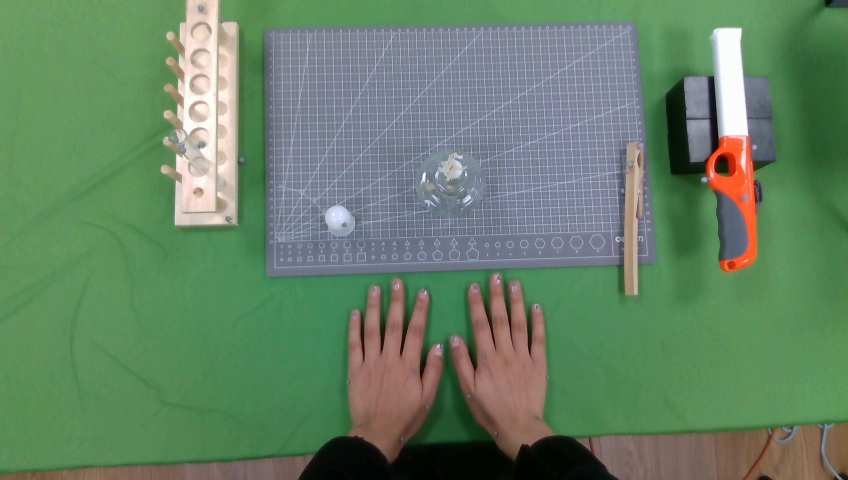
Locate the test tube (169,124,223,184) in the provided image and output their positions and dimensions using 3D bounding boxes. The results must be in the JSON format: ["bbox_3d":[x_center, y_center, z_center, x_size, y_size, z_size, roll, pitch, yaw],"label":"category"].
[{"bbox_3d":[-0.226,-0.083,0.610,0.017,0.150,0.017,1,79,-5],"label":"test tube"}]

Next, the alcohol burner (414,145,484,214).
[{"bbox_3d":[0.028,-0.069,0.651,0.078,0.119,0.077,0,83,-1],"label":"alcohol burner"}]

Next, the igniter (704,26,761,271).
[{"bbox_3d":[0.338,-0.103,0.669,0.057,0.025,0.275,1,82,4],"label":"igniter"}]

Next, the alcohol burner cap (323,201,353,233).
[{"bbox_3d":[-0.097,-0.028,0.676,0.034,0.048,0.033,0,81,-2],"label":"alcohol burner cap"}]

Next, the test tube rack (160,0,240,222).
[{"bbox_3d":[-0.249,-0.146,0.666,0.067,0.085,0.241,-1,83,-2],"label":"test tube rack"}]

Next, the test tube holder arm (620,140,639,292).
[{"bbox_3d":[0.237,-0.028,0.698,0.013,0.015,0.178,11,80,-31],"label":"test tube holder arm"}]

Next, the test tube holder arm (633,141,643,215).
[{"bbox_3d":[0.246,-0.072,0.708,0.010,0.015,0.087,12,80,-31],"label":"test tube holder arm"}]
